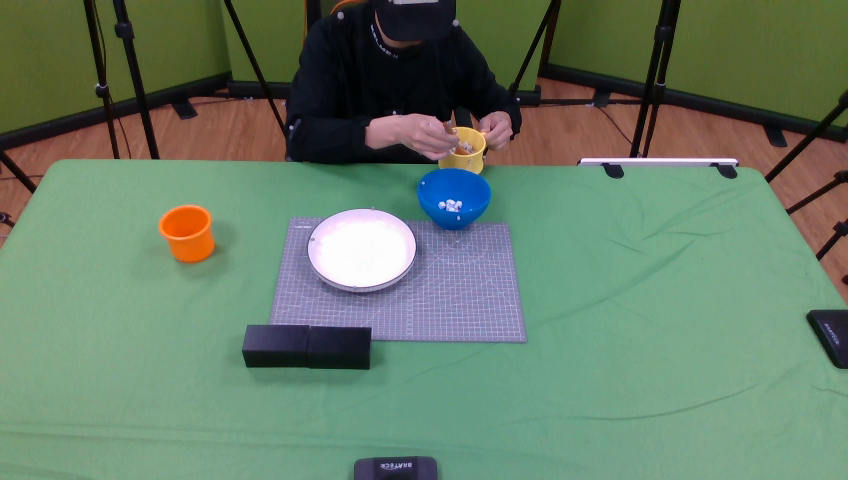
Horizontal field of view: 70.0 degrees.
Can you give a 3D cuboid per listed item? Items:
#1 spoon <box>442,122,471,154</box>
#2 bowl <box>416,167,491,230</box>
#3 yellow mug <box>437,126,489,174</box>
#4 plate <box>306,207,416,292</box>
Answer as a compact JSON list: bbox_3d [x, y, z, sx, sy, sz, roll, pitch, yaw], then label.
[{"bbox_3d":[0.064,-0.204,1.247,0.041,0.194,0.021,0,74,18],"label":"spoon"},{"bbox_3d":[0.057,-0.074,1.231,0.151,0.077,0.150,2,42,-2],"label":"bowl"},{"bbox_3d":[0.092,-0.198,1.317,0.131,0.064,0.099,-30,56,-27],"label":"yellow mug"},{"bbox_3d":[-0.119,0.021,1.153,0.209,0.038,0.208,2,46,-2],"label":"plate"}]
